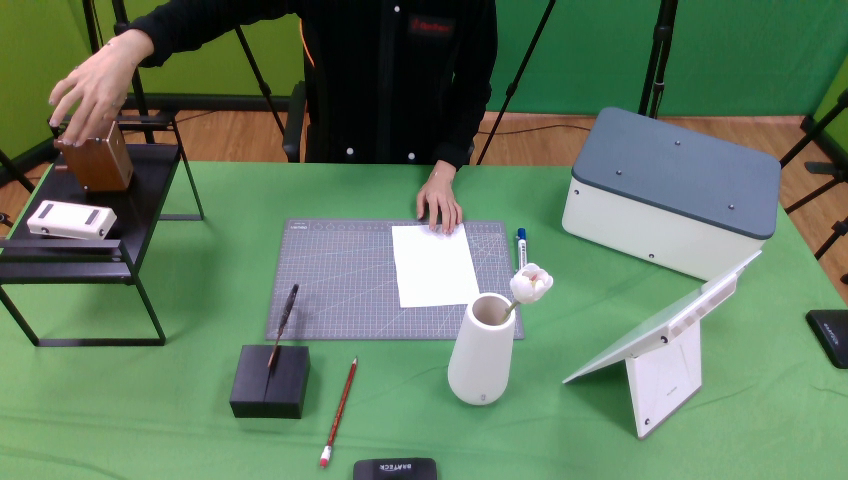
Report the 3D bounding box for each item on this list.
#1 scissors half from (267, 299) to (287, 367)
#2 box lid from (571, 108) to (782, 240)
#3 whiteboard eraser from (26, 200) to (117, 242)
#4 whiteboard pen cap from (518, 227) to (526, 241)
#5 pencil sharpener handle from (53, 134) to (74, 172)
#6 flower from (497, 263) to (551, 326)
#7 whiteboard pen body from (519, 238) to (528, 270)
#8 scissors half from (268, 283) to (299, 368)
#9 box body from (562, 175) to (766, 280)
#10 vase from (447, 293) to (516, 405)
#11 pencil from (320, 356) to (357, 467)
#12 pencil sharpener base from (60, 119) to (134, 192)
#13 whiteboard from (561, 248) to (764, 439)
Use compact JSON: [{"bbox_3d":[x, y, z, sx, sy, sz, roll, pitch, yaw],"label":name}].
[{"bbox_3d":[-0.239,0.150,0.997,0.013,0.040,0.174,24,24,-13],"label":"scissors half"},{"bbox_3d":[0.491,-0.139,1.168,0.370,0.015,0.262,21,49,15],"label":"box lid"},{"bbox_3d":[-0.532,-0.026,0.919,0.113,0.042,0.055,7,45,3],"label":"whiteboard eraser"},{"bbox_3d":[0.197,-0.009,1.220,0.018,0.018,0.033,5,50,1],"label":"whiteboard pen cap"},{"bbox_3d":[-0.577,-0.138,0.961,0.031,0.068,0.036,-4,34,-7],"label":"pencil sharpener handle"},{"bbox_3d":[0.103,0.121,0.853,0.044,0.363,0.038,-1,64,-9],"label":"flower"},{"bbox_3d":[0.193,0.035,1.181,0.017,0.017,0.140,6,48,1],"label":"whiteboard pen body"},{"bbox_3d":[-0.230,0.135,0.986,0.013,0.040,0.174,19,43,-11],"label":"scissors half"},{"bbox_3d":[0.486,-0.088,1.222,0.363,0.161,0.253,20,48,15],"label":"box body"},{"bbox_3d":[0.091,0.169,0.921,0.098,0.201,0.097,3,47,-3],"label":"vase"},{"bbox_3d":[-0.130,0.261,0.946,0.012,0.012,0.193,10,45,5],"label":"pencil"},{"bbox_3d":[-0.528,-0.135,0.979,0.077,0.107,0.061,-4,47,-7],"label":"pencil sharpener base"},{"bbox_3d":[0.386,0.176,0.905,0.217,0.306,0.143,-26,72,-26],"label":"whiteboard"}]
